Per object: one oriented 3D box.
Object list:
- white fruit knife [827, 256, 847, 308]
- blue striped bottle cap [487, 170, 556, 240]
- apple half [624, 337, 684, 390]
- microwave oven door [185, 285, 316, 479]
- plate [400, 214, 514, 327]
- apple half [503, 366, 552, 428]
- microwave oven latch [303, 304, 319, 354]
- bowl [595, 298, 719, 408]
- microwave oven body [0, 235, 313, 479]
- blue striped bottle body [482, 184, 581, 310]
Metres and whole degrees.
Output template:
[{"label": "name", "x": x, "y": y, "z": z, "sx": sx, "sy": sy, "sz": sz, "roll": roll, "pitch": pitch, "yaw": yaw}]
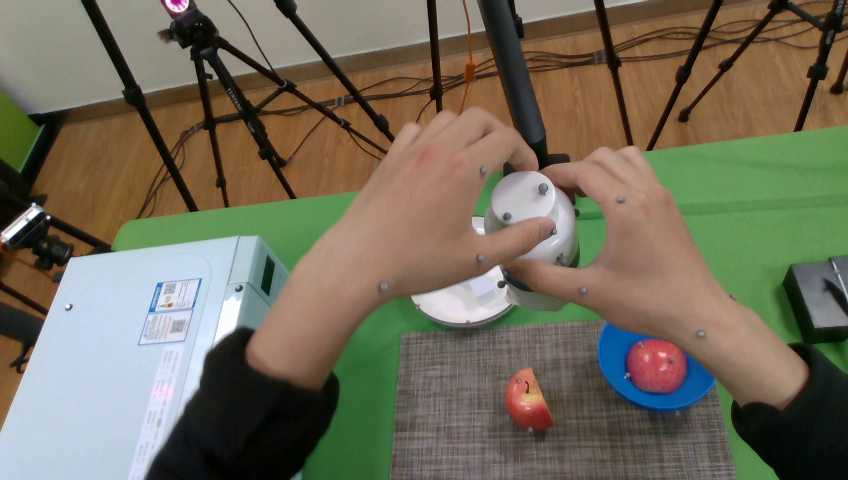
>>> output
[{"label": "white fruit knife", "x": 0.556, "y": 0.118, "z": 0.772, "sx": 0.016, "sy": 0.027, "sz": 0.206, "roll": -21, "pitch": 69, "yaw": 24}, {"label": "blue striped bottle cap", "x": 0.064, "y": -0.024, "z": 0.398, "sx": 0.044, "sy": 0.021, "sz": 0.044, "roll": -7, "pitch": 60, "yaw": 13}, {"label": "apple half", "x": 0.308, "y": 0.161, "z": 0.810, "sx": 0.081, "sy": 0.033, "sz": 0.080, "roll": -8, "pitch": 53, "yaw": 11}, {"label": "microwave oven door", "x": -0.217, "y": 0.268, "z": 0.775, "sx": 0.039, "sy": 0.246, "sz": 0.352, "roll": -8, "pitch": 55, "yaw": 12}, {"label": "plate", "x": 0.065, "y": 0.052, "z": 0.992, "sx": 0.207, "sy": 0.039, "sz": 0.205, "roll": -7, "pitch": 55, "yaw": 11}, {"label": "apple half", "x": 0.136, "y": 0.221, "z": 0.828, "sx": 0.053, "sy": 0.075, "sz": 0.080, "roll": -24, "pitch": 57, "yaw": 4}, {"label": "microwave oven latch", "x": -0.188, "y": 0.145, "z": 0.979, "sx": 0.030, "sy": 0.030, "sz": 0.078, "roll": -7, "pitch": 56, "yaw": 11}, {"label": "bowl", "x": 0.308, "y": 0.162, "z": 0.815, "sx": 0.151, "sy": 0.077, "sz": 0.150, "roll": -8, "pitch": 55, "yaw": 12}, {"label": "microwave oven body", "x": -0.358, "y": 0.255, "z": 0.831, "sx": 0.325, "sy": 0.263, "sz": 0.437, "roll": -7, "pitch": 56, "yaw": 11}, {"label": "blue striped bottle body", "x": 0.079, "y": 0.001, "z": 0.441, "sx": 0.063, "sy": 0.122, "sz": 0.062, "roll": -8, "pitch": 60, "yaw": 14}]
